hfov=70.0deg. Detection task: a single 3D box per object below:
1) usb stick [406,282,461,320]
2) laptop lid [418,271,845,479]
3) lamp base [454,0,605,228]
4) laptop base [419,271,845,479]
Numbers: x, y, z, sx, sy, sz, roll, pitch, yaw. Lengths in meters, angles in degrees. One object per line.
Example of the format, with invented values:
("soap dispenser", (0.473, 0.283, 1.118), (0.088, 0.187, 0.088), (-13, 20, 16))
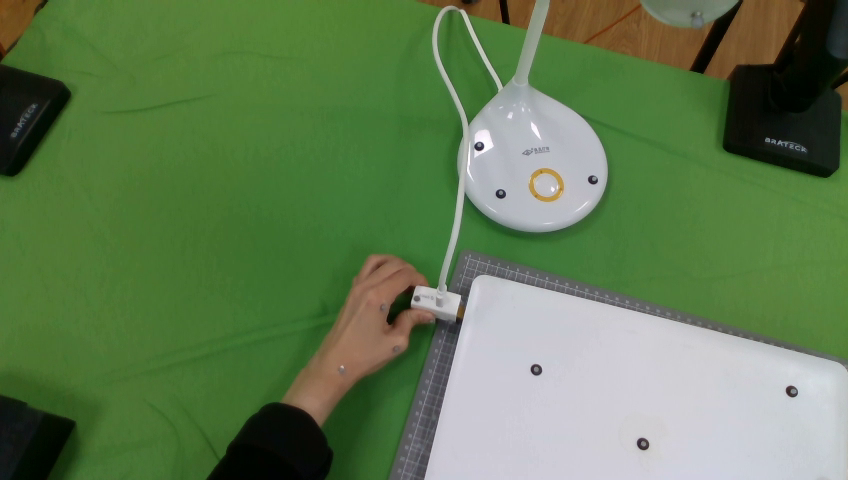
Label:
("usb stick", (0.014, 0.059, 0.569), (0.059, 0.027, 0.021), (14, 61, 2))
("laptop lid", (0.185, 0.173, 0.526), (0.356, 0.013, 0.240), (15, 70, 5))
("lamp base", (0.107, -0.127, 0.578), (0.161, 0.181, 0.177), (-20, 66, -10))
("laptop base", (0.186, 0.176, 0.537), (0.354, 0.023, 0.234), (14, 71, 4))
